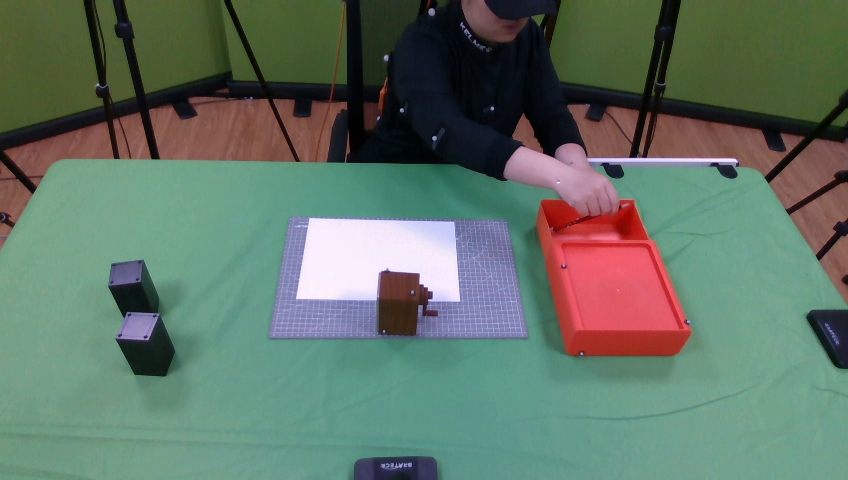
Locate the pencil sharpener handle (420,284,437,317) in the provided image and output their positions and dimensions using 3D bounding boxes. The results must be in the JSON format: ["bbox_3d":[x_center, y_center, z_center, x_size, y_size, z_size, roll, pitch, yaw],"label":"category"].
[{"bbox_3d":[0.009,0.104,1.017,0.030,0.068,0.036,3,40,-2],"label":"pencil sharpener handle"}]

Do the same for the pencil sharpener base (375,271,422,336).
[{"bbox_3d":[-0.043,0.109,1.025,0.077,0.107,0.061,3,45,-2],"label":"pencil sharpener base"}]

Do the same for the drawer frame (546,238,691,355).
[{"bbox_3d":[0.338,0.097,1.086,0.202,0.083,0.212,0,46,-4],"label":"drawer frame"}]

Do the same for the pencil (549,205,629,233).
[{"bbox_3d":[0.308,-0.039,1.169,0.194,0.012,0.012,-21,27,42],"label":"pencil"}]

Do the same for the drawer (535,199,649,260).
[{"bbox_3d":[0.333,0.015,1.170,0.195,0.073,0.210,0,46,-5],"label":"drawer"}]
